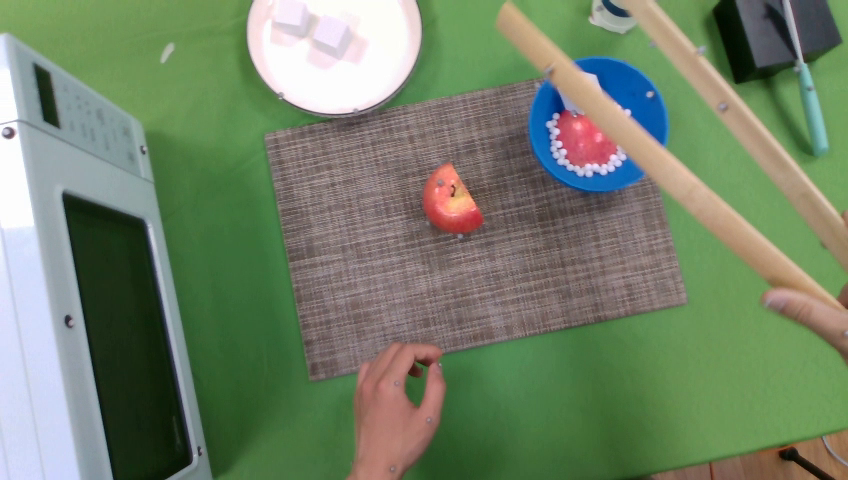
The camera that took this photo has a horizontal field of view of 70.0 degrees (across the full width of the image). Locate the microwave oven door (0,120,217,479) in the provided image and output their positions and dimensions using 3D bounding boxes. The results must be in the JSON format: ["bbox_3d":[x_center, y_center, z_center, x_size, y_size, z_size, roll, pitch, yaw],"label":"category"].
[{"bbox_3d":[-0.289,0.090,0.576,0.039,0.244,0.355,-14,84,-1],"label":"microwave oven door"}]

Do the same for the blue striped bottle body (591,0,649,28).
[{"bbox_3d":[0.236,-0.298,0.688,0.063,0.121,0.063,0,83,1],"label":"blue striped bottle body"}]

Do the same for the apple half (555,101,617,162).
[{"bbox_3d":[0.189,-0.128,0.685,0.081,0.033,0.081,0,83,1],"label":"apple half"}]

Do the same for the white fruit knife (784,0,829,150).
[{"bbox_3d":[0.434,-0.201,0.695,0.016,0.027,0.208,-18,101,16],"label":"white fruit knife"}]

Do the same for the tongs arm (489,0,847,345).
[{"bbox_3d":[0.186,-0.060,0.462,0.028,0.028,0.385,-33,73,-34],"label":"tongs arm"}]

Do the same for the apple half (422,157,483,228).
[{"bbox_3d":[0.026,-0.046,0.686,0.053,0.074,0.081,-32,88,1],"label":"apple half"}]

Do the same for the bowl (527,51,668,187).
[{"bbox_3d":[0.188,-0.128,0.690,0.151,0.077,0.151,0,84,1],"label":"bowl"}]

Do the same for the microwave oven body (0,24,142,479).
[{"bbox_3d":[-0.441,0.083,0.582,0.326,0.260,0.440,-13,85,-2],"label":"microwave oven body"}]

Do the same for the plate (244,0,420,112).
[{"bbox_3d":[-0.108,-0.251,0.728,0.208,0.039,0.207,0,85,0],"label":"plate"}]

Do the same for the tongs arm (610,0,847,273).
[{"bbox_3d":[0.247,-0.090,0.495,0.051,0.026,0.382,-22,68,-27],"label":"tongs arm"}]

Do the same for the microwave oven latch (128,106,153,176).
[{"bbox_3d":[-0.336,-0.111,0.697,0.030,0.029,0.079,-13,85,-1],"label":"microwave oven latch"}]
